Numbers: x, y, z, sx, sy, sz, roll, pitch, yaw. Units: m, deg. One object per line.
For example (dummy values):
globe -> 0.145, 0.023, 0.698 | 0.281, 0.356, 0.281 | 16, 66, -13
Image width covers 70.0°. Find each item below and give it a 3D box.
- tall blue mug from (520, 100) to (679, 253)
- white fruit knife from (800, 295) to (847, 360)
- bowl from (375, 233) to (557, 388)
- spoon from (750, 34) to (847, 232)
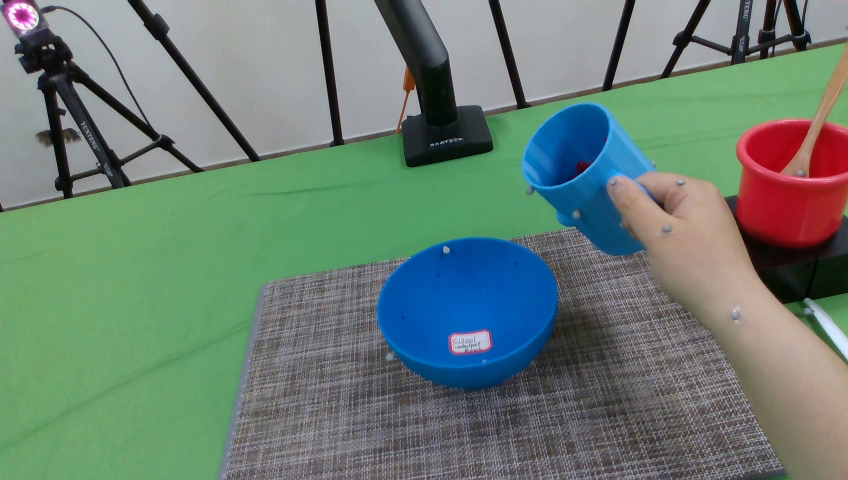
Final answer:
tall blue mug -> 0.147, -0.045, 0.467 | 0.106, 0.109, 0.077 | 5, 67, 49
white fruit knife -> 0.337, 0.110, 0.447 | 0.027, 0.016, 0.205 | 10, 35, -13
bowl -> 0.040, 0.073, 0.518 | 0.151, 0.077, 0.150 | -8, 40, 7
spoon -> 0.331, -0.096, 0.513 | 0.041, 0.022, 0.194 | 27, 98, 40
